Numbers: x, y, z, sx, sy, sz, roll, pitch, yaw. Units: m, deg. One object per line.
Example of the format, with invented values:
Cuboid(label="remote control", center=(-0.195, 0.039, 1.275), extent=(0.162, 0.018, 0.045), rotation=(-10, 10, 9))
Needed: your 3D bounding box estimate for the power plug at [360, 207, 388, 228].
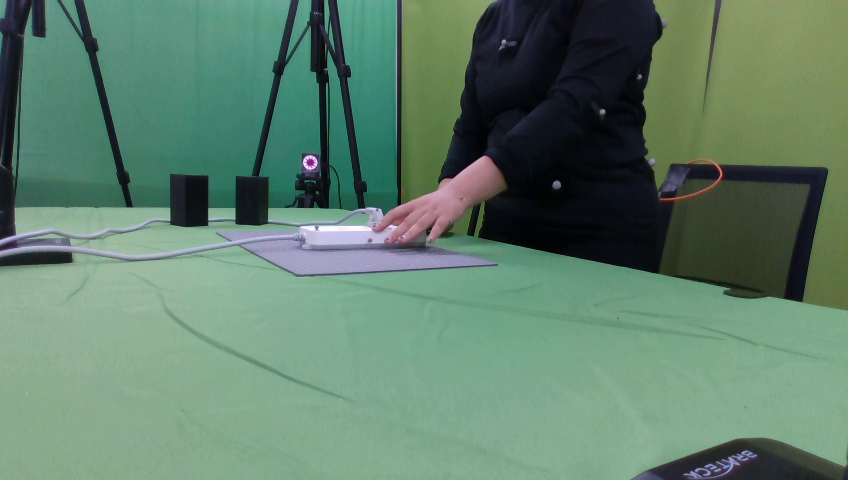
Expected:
Cuboid(label="power plug", center=(-0.085, -0.029, 1.032), extent=(0.035, 0.052, 0.072), rotation=(2, 5, -20))

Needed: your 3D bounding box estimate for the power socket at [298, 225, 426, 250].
Cuboid(label="power socket", center=(-0.099, -0.006, 0.992), extent=(0.228, 0.032, 0.072), rotation=(-2, 7, -32))
